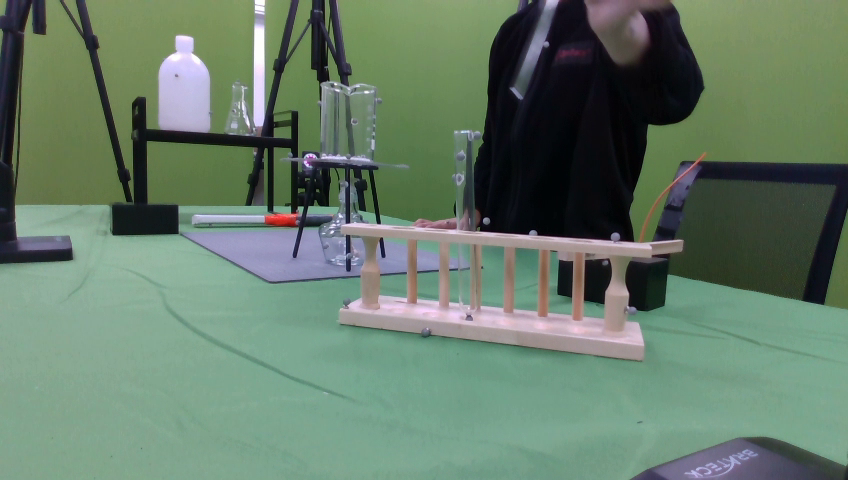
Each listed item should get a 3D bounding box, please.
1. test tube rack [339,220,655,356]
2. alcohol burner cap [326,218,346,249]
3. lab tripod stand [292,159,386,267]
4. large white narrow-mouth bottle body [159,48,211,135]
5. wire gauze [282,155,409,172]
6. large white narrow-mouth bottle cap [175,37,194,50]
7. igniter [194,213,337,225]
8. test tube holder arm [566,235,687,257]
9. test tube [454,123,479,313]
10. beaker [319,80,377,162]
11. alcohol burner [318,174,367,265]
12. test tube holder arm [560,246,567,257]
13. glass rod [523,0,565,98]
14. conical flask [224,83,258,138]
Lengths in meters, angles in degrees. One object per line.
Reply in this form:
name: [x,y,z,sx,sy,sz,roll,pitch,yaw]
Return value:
test tube rack: [0.056,0.032,0.495,0.242,0.085,0.067,4,7,15]
alcohol burner cap: [-0.133,-0.010,0.927,0.034,0.048,0.034,6,7,0]
lab tripod stand: [-0.105,-0.039,0.797,0.148,0.131,0.148,2,5,0]
large white narrow-mouth bottle body: [-0.503,-0.322,1.275,0.102,0.194,0.102,2,7,0]
wire gauze: [-0.104,-0.103,0.785,0.126,0.011,0.121,1,8,-39]
large white narrow-mouth bottle cap: [-0.501,-0.410,1.264,0.038,0.024,0.037,2,7,0]
igniter: [-0.306,-0.042,1.196,0.278,0.025,0.057,-2,-2,-31]
test tube holder arm: [0.215,0.006,0.630,0.179,0.015,0.013,-3,9,-31]
test tube: [0.034,-0.016,0.477,0.017,0.150,0.017,-2,9,1]
beaker: [-0.098,-0.150,0.777,0.074,0.100,0.084,1,7,-7]
alcohol burner: [-0.100,-0.028,0.790,0.078,0.119,0.078,0,6,0]
test tube holder arm: [0.173,0.007,0.611,0.088,0.015,0.010,-3,8,-30]
glass rod: [0.117,-0.210,0.485,0.008,0.199,0.008,19,10,-3]
conical flask: [-0.422,-0.299,1.395,0.075,0.122,0.075,2,7,0]
